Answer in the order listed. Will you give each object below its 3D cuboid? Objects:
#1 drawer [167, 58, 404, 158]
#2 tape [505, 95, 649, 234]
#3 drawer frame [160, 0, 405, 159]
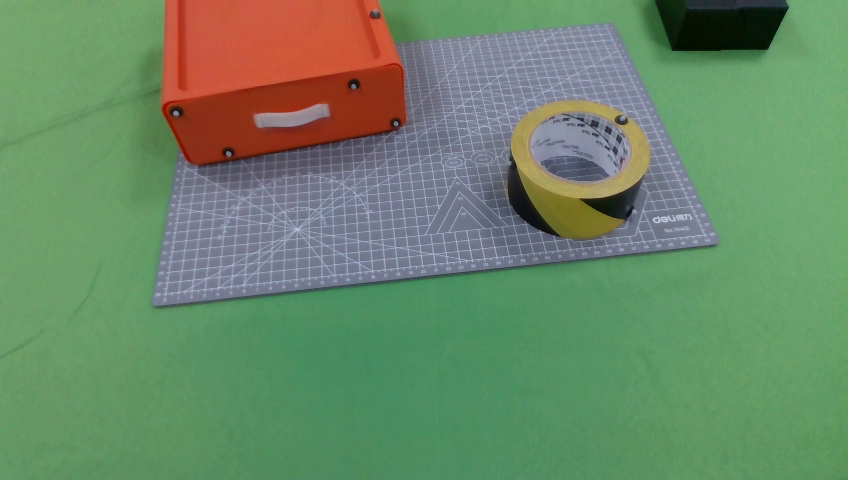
[{"bbox_3d":[-0.136,-0.189,0.580,0.195,0.074,0.209,-12,55,-6],"label":"drawer"},{"bbox_3d":[0.125,-0.063,0.503,0.117,0.053,0.115,-1,55,2],"label":"tape"},{"bbox_3d":[-0.138,-0.190,0.581,0.202,0.083,0.211,-13,54,-7],"label":"drawer frame"}]
